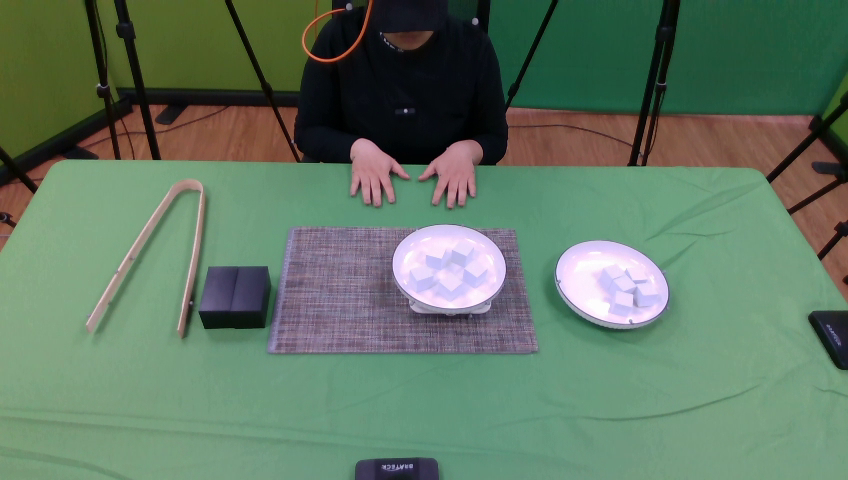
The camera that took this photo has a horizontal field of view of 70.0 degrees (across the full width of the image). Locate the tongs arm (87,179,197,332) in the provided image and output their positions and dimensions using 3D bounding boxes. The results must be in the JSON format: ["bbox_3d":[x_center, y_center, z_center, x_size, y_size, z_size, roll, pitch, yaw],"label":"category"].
[{"bbox_3d":[-0.517,0.014,1.137,0.051,0.026,0.382,6,45,0],"label":"tongs arm"}]

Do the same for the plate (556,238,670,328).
[{"bbox_3d":[0.347,0.083,1.130,0.209,0.038,0.208,2,47,-2],"label":"plate"}]

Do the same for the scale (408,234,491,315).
[{"bbox_3d":[0.045,0.055,1.135,0.149,0.032,0.199,1,46,-3],"label":"scale"}]

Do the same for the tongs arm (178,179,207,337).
[{"bbox_3d":[-0.437,0.019,1.144,0.028,0.028,0.385,-6,47,-6],"label":"tongs arm"}]

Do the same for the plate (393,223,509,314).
[{"bbox_3d":[0.048,0.053,1.091,0.208,0.039,0.206,1,46,-1],"label":"plate"}]
